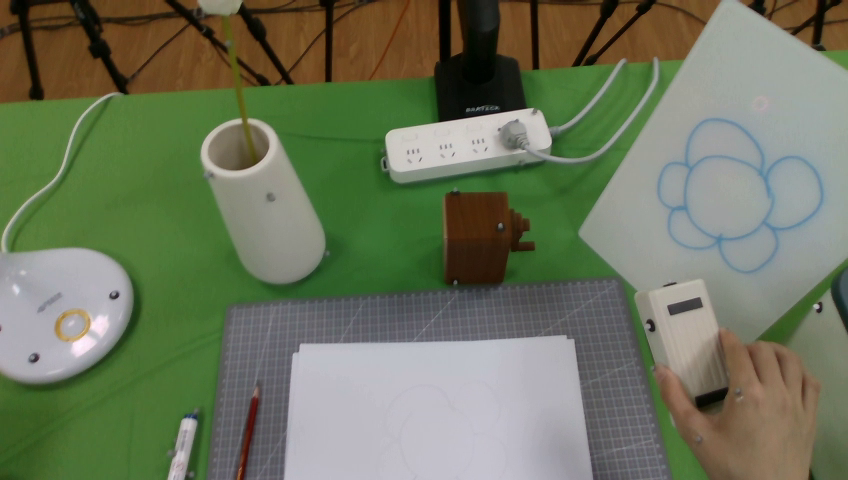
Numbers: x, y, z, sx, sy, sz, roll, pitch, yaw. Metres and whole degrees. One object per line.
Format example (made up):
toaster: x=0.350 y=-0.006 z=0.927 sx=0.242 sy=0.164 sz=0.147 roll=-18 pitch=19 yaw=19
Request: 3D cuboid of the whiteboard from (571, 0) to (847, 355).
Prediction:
whiteboard: x=0.331 y=-0.061 z=0.614 sx=0.144 sy=0.307 sz=0.215 roll=-24 pitch=60 yaw=-34

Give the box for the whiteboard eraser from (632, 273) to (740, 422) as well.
whiteboard eraser: x=0.211 y=0.086 z=0.494 sx=0.056 sy=0.042 sz=0.112 roll=-12 pitch=81 yaw=-16

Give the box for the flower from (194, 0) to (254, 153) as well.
flower: x=-0.167 y=-0.094 z=0.574 sx=0.038 sy=0.365 sz=0.043 roll=-14 pitch=42 yaw=-15

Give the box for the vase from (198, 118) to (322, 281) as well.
vase: x=-0.170 y=-0.037 z=0.636 sx=0.098 sy=0.202 sz=0.097 roll=-1 pitch=59 yaw=2

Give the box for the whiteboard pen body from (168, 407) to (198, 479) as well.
whiteboard pen body: x=-0.239 y=0.231 z=0.583 sx=0.017 sy=0.017 sz=0.139 roll=0 pitch=56 yaw=1

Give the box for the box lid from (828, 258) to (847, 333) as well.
box lid: x=0.488 y=0.161 z=0.442 sx=0.263 sy=0.015 sz=0.368 roll=-5 pitch=59 yaw=-2

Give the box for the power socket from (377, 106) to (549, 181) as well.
power socket: x=0.051 y=-0.125 z=0.779 sx=0.227 sy=0.033 sz=0.071 roll=-9 pitch=61 yaw=-5

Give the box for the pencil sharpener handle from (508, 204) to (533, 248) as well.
pencil sharpener handle: x=0.106 y=-0.013 z=0.656 sx=0.030 sy=0.068 sz=0.035 roll=-2 pitch=58 yaw=0

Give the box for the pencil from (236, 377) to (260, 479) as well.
pencil: x=-0.178 y=0.226 z=0.590 sx=0.012 sy=0.012 sz=0.192 roll=1 pitch=58 yaw=3

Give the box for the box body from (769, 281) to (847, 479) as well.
box body: x=0.490 y=0.202 z=0.505 sx=0.254 sy=0.162 sz=0.360 roll=-5 pitch=60 yaw=-2

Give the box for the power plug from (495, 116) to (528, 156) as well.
power plug: x=0.106 y=-0.121 z=0.749 sx=0.035 sy=0.053 sz=0.072 roll=-1 pitch=61 yaw=2

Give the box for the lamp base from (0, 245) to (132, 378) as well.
lamp base: x=-0.420 y=0.032 z=0.612 sx=0.178 sy=0.182 sz=0.160 roll=25 pitch=63 yaw=18

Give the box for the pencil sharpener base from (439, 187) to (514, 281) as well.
pencil sharpener base: x=0.056 y=-0.005 z=0.666 sx=0.077 sy=0.108 sz=0.061 roll=-2 pitch=59 yaw=0
